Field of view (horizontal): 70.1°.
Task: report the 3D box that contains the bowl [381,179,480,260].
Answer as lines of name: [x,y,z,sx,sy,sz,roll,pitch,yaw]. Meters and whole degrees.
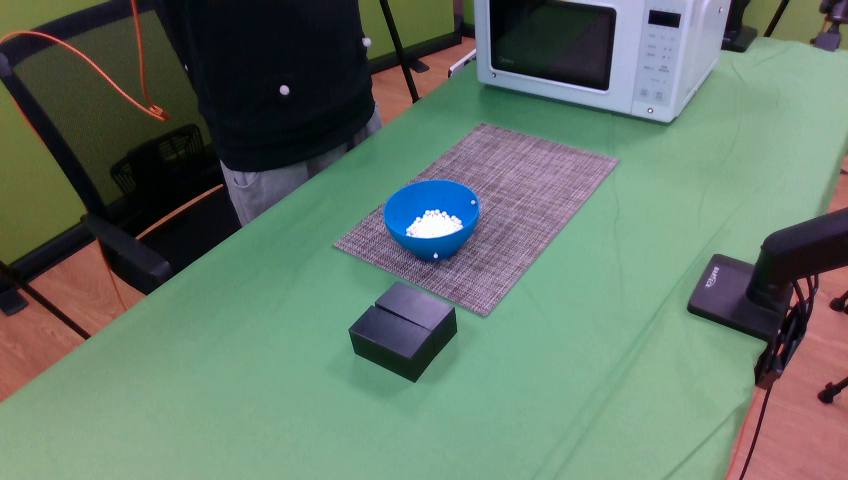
bowl: [0.014,-0.021,0.942,0.151,0.077,0.150,-4,40,4]

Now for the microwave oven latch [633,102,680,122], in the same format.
microwave oven latch: [0.444,-0.249,1.157,0.078,0.029,0.030,21,49,30]

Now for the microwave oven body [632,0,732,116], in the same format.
microwave oven body: [0.377,-0.462,1.267,0.438,0.261,0.327,21,48,30]

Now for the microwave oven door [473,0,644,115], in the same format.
microwave oven door: [0.257,-0.396,1.199,0.353,0.245,0.039,21,48,29]
